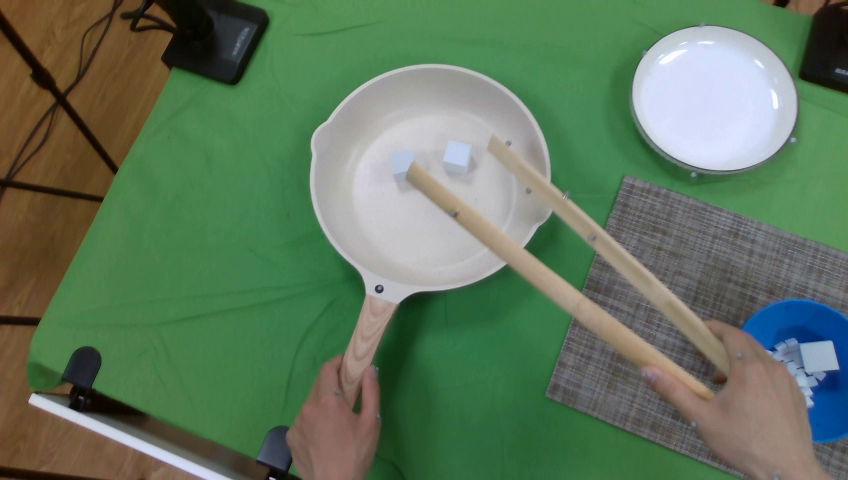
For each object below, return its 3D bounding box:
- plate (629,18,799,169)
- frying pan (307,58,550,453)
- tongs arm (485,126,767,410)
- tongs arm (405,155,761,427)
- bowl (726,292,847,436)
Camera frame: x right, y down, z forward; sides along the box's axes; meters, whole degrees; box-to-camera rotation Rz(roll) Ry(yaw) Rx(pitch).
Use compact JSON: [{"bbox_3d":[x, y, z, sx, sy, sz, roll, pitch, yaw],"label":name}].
[{"bbox_3d":[0.368,-0.185,0.782,0.207,0.039,0.206,-1,76,3],"label":"plate"},{"bbox_3d":[-0.032,0.010,0.720,0.306,0.103,0.485,19,70,8],"label":"frying pan"},{"bbox_3d":[0.175,0.013,0.599,0.051,0.027,0.381,-23,59,-38],"label":"tongs arm"},{"bbox_3d":[0.125,0.037,0.557,0.385,0.028,0.028,39,42,18],"label":"tongs arm"},{"bbox_3d":[0.401,0.138,0.674,0.151,0.077,0.150,-1,77,3],"label":"bowl"}]
